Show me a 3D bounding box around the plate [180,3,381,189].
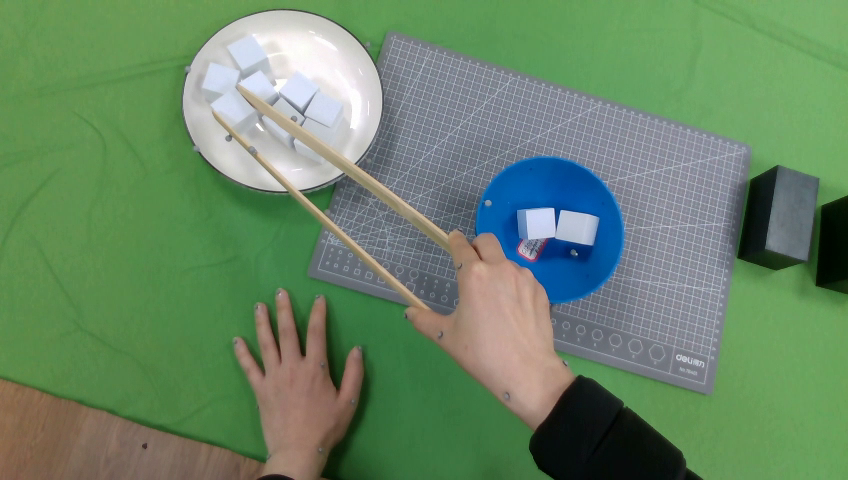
[{"bbox_3d":[-0.150,-0.151,0.649,0.208,0.039,0.206,1,78,-5],"label":"plate"}]

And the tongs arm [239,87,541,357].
[{"bbox_3d":[-0.044,-0.033,0.539,0.384,0.028,0.028,39,67,21],"label":"tongs arm"}]

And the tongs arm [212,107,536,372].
[{"bbox_3d":[-0.060,-0.018,0.532,0.051,0.027,0.381,-40,66,-17],"label":"tongs arm"}]

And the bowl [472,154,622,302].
[{"bbox_3d":[0.117,-0.006,0.627,0.152,0.077,0.150,2,78,-7],"label":"bowl"}]
